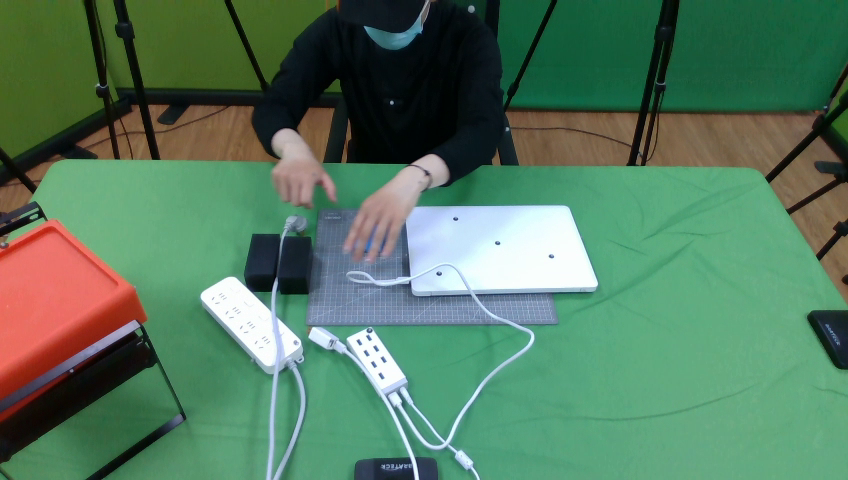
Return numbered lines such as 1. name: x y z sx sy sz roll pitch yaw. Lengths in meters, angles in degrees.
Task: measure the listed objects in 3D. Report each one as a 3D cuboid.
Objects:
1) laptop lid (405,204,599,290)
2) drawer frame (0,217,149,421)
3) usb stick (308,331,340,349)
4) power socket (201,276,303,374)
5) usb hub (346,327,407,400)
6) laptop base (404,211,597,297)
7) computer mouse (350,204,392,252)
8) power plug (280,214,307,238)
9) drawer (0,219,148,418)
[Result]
1. laptop lid: 0.143 0.008 1.189 0.357 0.013 0.240 0 44 -5
2. drawer frame: -0.510 0.093 0.780 0.201 0.083 0.213 31 52 23
3. usb stick: -0.174 0.167 1.023 0.059 0.027 0.021 9 88 24
4. power socket: -0.296 0.141 1.034 0.225 0.033 0.072 37 55 27
5. usb hub: -0.078 0.202 0.998 0.049 0.025 0.124 -23 53 -24
6. laptop base: 0.143 0.018 1.196 0.355 0.023 0.234 -1 43 -6
7. computer mouse: -0.104 -0.027 1.202 0.063 0.041 0.116 11 51 4
8. power plug: -0.259 -0.021 1.184 0.035 0.053 0.072 21 58 31
9. drawer: -0.509 0.093 0.783 0.193 0.073 0.211 32 53 24
